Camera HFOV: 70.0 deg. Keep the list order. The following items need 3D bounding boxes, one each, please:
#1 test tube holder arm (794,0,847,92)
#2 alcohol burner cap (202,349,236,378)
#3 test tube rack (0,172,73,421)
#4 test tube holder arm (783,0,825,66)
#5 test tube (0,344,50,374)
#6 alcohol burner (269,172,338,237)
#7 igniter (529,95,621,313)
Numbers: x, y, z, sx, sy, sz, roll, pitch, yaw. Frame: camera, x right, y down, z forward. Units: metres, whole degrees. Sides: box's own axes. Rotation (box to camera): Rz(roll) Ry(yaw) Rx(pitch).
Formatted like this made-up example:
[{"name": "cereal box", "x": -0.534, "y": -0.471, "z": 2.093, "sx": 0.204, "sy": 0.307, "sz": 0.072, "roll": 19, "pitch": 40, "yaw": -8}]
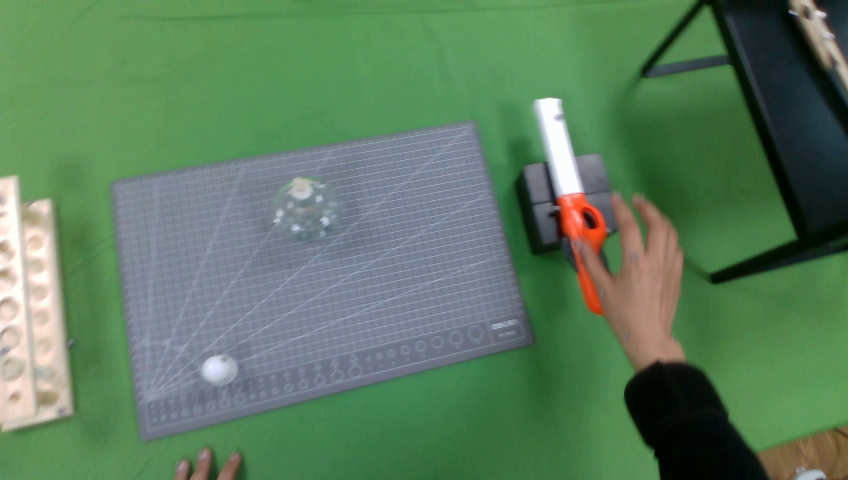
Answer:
[{"name": "test tube holder arm", "x": 0.439, "y": -0.191, "z": 0.648, "sx": 0.013, "sy": 0.015, "sz": 0.177, "roll": -30, "pitch": 79, "yaw": 26}, {"name": "alcohol burner cap", "x": -0.225, "y": 0.133, "z": 0.657, "sx": 0.034, "sy": 0.048, "sz": 0.033, "roll": 2, "pitch": 76, "yaw": -8}, {"name": "test tube rack", "x": -0.431, "y": 0.060, "z": 0.630, "sx": 0.067, "sy": 0.085, "sz": 0.241, "roll": -12, "pitch": 77, "yaw": -10}, {"name": "test tube holder arm", "x": 0.416, "y": -0.229, "z": 0.658, "sx": 0.010, "sy": 0.015, "sz": 0.087, "roll": -28, "pitch": 80, "yaw": 27}, {"name": "test tube", "x": -0.391, "y": 0.110, "z": 0.572, "sx": 0.017, "sy": 0.151, "sz": 0.017, "roll": 3, "pitch": 70, "yaw": -8}, {"name": "alcohol burner", "x": -0.136, "y": -0.045, "z": 0.676, "sx": 0.078, "sy": 0.119, "sz": 0.077, "roll": 1, "pitch": 76, "yaw": -5}, {"name": "igniter", "x": 0.174, "y": -0.046, "z": 0.713, "sx": 0.057, "sy": 0.025, "sz": 0.275, "roll": -9, "pitch": 74, "yaw": -12}]
